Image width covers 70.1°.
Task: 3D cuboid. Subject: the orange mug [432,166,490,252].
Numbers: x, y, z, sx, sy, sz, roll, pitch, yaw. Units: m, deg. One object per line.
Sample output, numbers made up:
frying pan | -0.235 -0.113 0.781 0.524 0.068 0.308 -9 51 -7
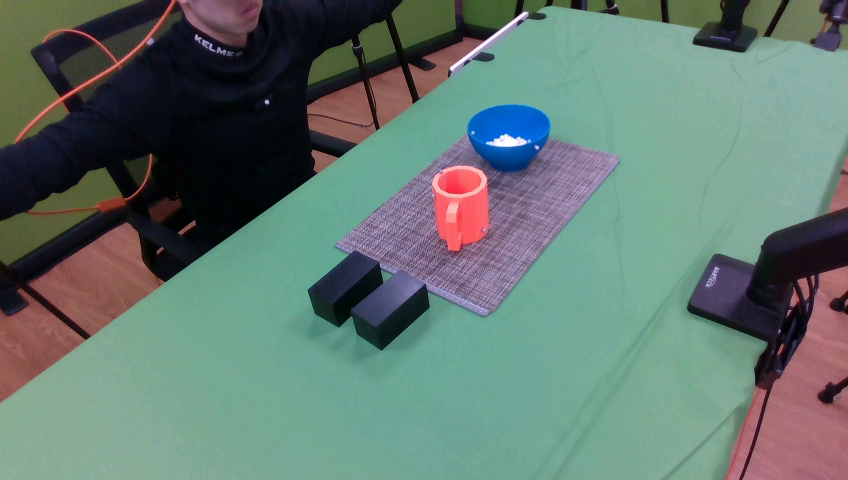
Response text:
orange mug | 0.055 -0.045 0.948 0.083 0.101 0.126 4 38 14

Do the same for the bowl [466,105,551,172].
bowl | 0.155 -0.177 1.105 0.151 0.077 0.150 -3 40 3
